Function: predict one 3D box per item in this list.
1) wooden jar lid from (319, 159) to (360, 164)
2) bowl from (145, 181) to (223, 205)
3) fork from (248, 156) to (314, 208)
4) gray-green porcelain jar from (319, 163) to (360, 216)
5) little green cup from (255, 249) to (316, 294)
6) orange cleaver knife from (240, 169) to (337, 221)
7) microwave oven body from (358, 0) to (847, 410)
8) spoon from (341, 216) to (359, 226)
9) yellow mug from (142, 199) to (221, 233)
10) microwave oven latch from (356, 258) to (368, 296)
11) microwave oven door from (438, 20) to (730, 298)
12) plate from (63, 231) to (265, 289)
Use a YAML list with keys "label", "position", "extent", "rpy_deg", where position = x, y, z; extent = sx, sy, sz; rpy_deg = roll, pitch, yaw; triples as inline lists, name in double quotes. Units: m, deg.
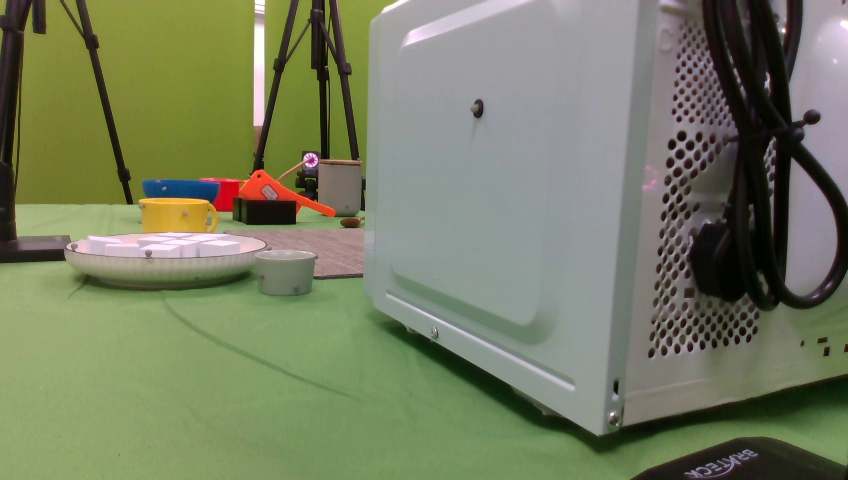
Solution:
- label: "wooden jar lid"
  position: [-0.203, -0.189, 1.482]
  extent: [0.108, 0.020, 0.108]
  rpy_deg: [2, 10, 0]
- label: "bowl"
  position: [-0.499, -0.081, 1.261]
  extent: [0.151, 0.077, 0.151]
  rpy_deg: [2, 8, 0]
- label: "fork"
  position: [-0.360, -0.147, 1.523]
  extent: [0.207, 0.019, 0.028]
  rpy_deg: [-43, 19, -6]
- label: "gray-green porcelain jar"
  position: [-0.205, -0.126, 1.490]
  extent: [0.106, 0.126, 0.106]
  rpy_deg: [1, 8, 0]
- label: "little green cup"
  position: [-0.144, 0.032, 0.627]
  extent: [0.061, 0.038, 0.061]
  rpy_deg: [4, 7, 0]
- label: "orange cleaver knife"
  position: [-0.287, -0.082, 1.299]
  extent: [0.212, 0.077, 0.012]
  rpy_deg: [25, -2, -31]
- label: "microwave oven body"
  position: [0.210, -0.051, 0.471]
  extent: [0.444, 0.260, 0.324]
  rpy_deg: [-1, 7, -28]
- label: "spoon"
  position: [-0.132, -0.048, 1.305]
  extent: [0.041, 0.021, 0.194]
  rpy_deg: [-15, 4, 14]
- label: "yellow mug"
  position: [-0.373, -0.030, 0.948]
  extent: [0.099, 0.064, 0.131]
  rpy_deg: [6, 8, 30]
- label: "microwave oven latch"
  position: [-0.019, 0.031, 0.529]
  extent: [0.079, 0.029, 0.030]
  rpy_deg: [-1, 7, -25]
- label: "microwave oven door"
  position: [0.181, -0.076, 0.618]
  extent: [0.358, 0.243, 0.039]
  rpy_deg: [-2, 8, -28]
- label: "plate"
  position: [-0.288, 0.021, 0.687]
  extent: [0.208, 0.039, 0.207]
  rpy_deg: [2, 8, 0]
